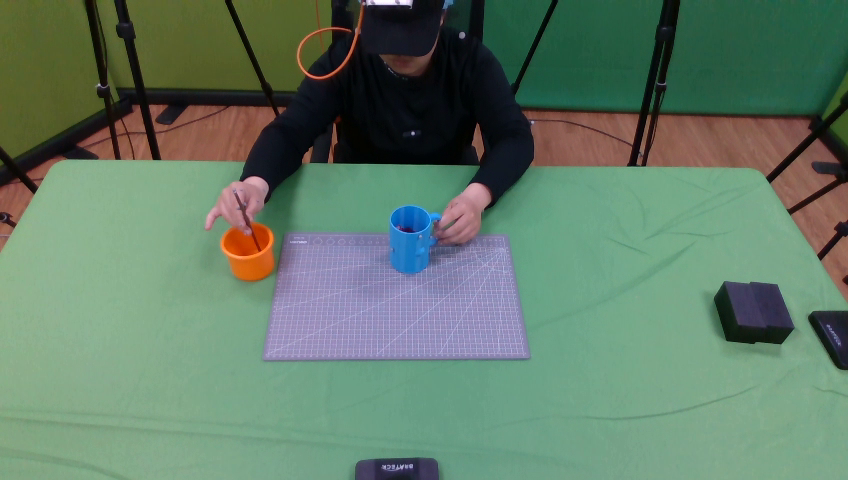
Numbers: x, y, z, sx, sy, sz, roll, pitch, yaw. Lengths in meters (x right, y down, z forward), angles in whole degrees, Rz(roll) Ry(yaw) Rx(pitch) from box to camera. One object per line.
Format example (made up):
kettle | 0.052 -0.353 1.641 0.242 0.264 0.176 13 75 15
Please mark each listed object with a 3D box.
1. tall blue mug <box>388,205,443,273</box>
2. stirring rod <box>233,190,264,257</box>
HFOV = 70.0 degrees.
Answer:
tall blue mug | -0.020 -0.010 1.144 0.077 0.108 0.107 23 49 18
stirring rod | -0.309 -0.025 1.071 0.006 0.177 0.014 -32 57 -21
